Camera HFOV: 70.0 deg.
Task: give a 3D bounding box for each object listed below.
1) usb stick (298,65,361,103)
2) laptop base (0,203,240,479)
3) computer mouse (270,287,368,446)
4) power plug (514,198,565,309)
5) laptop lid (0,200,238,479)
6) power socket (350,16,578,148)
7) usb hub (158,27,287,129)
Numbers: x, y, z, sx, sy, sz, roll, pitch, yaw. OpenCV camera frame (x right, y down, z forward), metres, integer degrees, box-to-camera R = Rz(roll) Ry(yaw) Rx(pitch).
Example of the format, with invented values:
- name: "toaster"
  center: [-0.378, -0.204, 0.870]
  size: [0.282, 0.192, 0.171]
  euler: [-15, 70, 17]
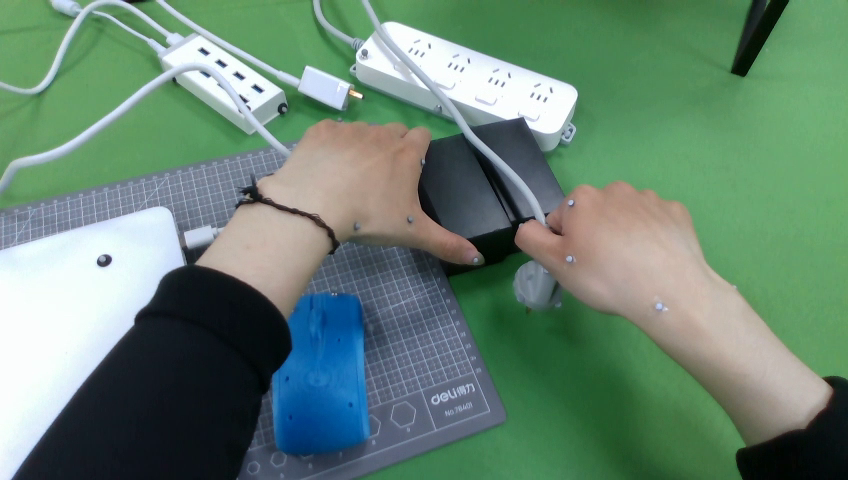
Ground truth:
- name: "usb stick"
  center: [-0.086, -0.144, 0.568]
  size: [0.059, 0.027, 0.021]
  euler: [14, 13, -10]
- name: "laptop base"
  center: [-0.320, 0.117, 0.397]
  size: [0.355, 0.023, 0.233]
  euler: [-18, 64, -13]
- name: "computer mouse"
  center: [-0.072, 0.081, 0.415]
  size: [0.063, 0.041, 0.116]
  euler: [-6, 53, -4]
- name: "power plug"
  center: [0.087, 0.014, 0.436]
  size: [0.035, 0.053, 0.072]
  euler: [22, 56, 2]
- name: "laptop lid"
  center: [-0.319, 0.113, 0.385]
  size: [0.357, 0.013, 0.239]
  euler: [-17, 62, -12]
- name: "power socket"
  center: [0.038, -0.153, 0.576]
  size: [0.226, 0.033, 0.072]
  euler: [24, 59, 13]
- name: "usb hub"
  center: [-0.191, -0.154, 0.571]
  size: [0.124, 0.025, 0.049]
  euler: [36, 63, 19]
